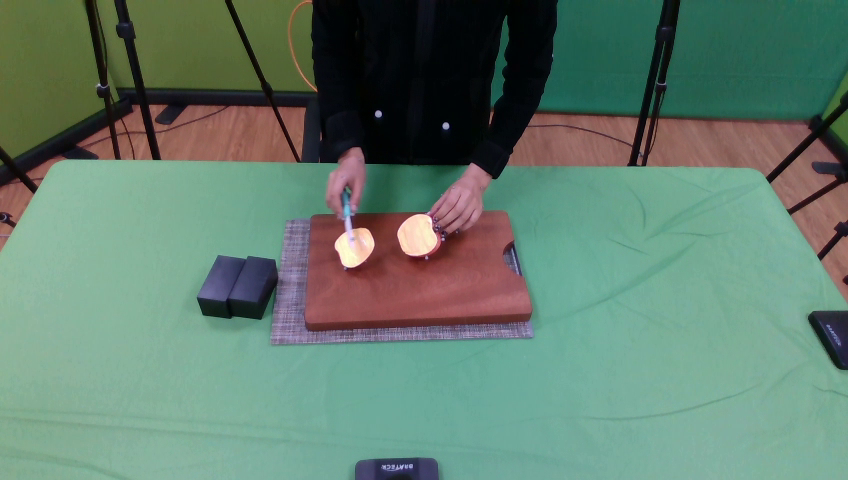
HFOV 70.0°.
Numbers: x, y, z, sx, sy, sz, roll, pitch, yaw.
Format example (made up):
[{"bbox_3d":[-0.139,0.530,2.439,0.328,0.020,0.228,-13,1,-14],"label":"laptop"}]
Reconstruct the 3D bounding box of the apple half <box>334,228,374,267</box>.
[{"bbox_3d":[-0.123,0.017,1.120,0.081,0.033,0.081,-7,61,14],"label":"apple half"}]

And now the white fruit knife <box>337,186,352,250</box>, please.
[{"bbox_3d":[-0.144,-0.044,1.110,0.016,0.027,0.206,7,33,-19],"label":"white fruit knife"}]

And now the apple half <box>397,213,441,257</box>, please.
[{"bbox_3d":[-0.005,-0.005,1.136,0.074,0.053,0.080,-25,72,11],"label":"apple half"}]
